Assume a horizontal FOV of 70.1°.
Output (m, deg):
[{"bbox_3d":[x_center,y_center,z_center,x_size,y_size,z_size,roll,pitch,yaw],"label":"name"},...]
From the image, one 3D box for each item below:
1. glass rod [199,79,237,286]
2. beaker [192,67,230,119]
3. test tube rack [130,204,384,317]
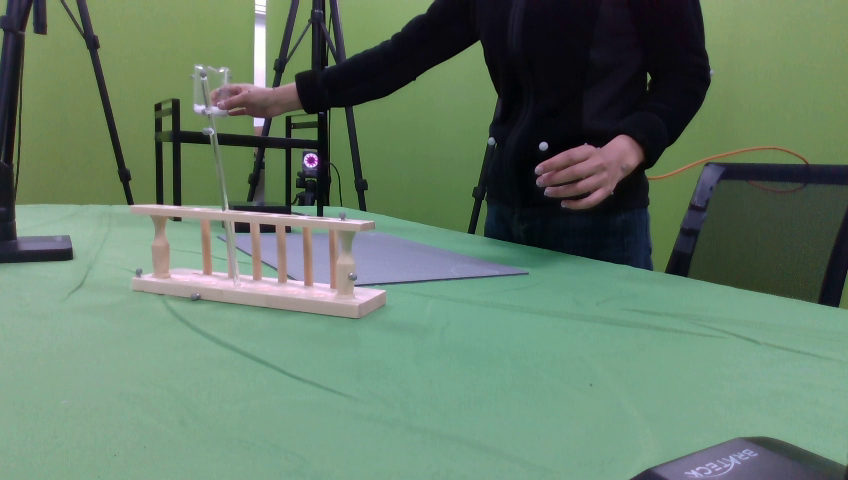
[{"bbox_3d":[-0.194,-0.050,0.569,0.008,0.199,0.008,-6,7,1],"label":"glass rod"},{"bbox_3d":[-0.445,-0.307,1.267,0.074,0.100,0.083,-2,12,-32],"label":"beaker"},{"bbox_3d":[-0.163,0.013,0.589,0.242,0.085,0.067,5,8,17],"label":"test tube rack"}]
